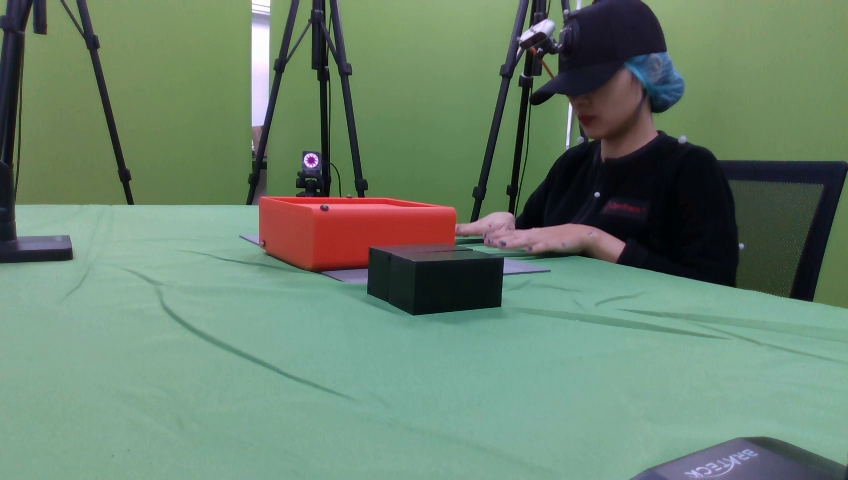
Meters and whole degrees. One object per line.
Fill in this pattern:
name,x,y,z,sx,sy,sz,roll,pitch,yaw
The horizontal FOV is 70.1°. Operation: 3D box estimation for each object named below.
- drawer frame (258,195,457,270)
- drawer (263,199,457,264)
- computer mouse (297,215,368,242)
drawer frame,-0.095,-0.018,0.845,0.215,0.082,0.200,-3,10,-34
drawer,-0.093,-0.017,0.846,0.213,0.073,0.193,-3,10,-33
computer mouse,-0.155,-0.021,1.032,0.118,0.041,0.062,-9,15,-39
